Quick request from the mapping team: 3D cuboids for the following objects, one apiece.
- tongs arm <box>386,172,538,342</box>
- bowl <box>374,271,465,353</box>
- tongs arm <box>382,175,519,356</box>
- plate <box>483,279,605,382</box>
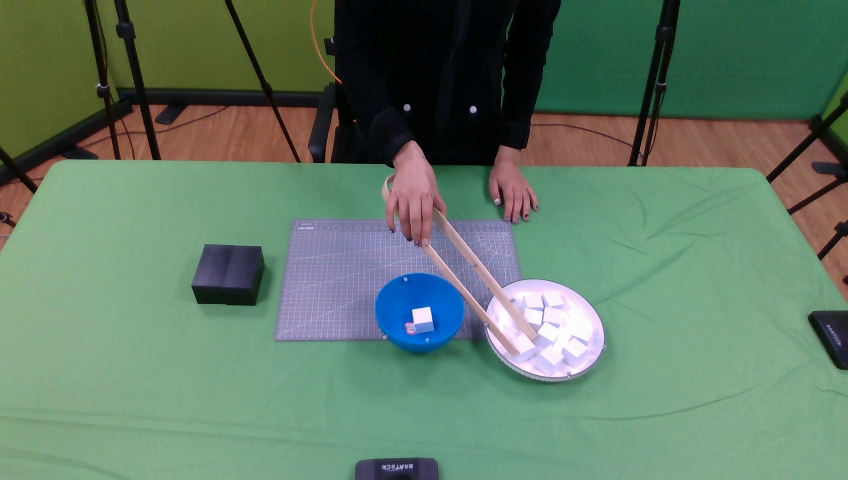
[{"bbox_3d":[0.060,0.027,1.061,0.051,0.026,0.383,-27,72,-31],"label":"tongs arm"},{"bbox_3d":[-0.009,0.136,1.024,0.151,0.077,0.150,2,47,-2],"label":"bowl"},{"bbox_3d":[0.037,0.040,1.044,0.028,0.028,0.386,-30,73,-28],"label":"tongs arm"},{"bbox_3d":[0.204,0.158,1.046,0.208,0.039,0.206,3,47,-3],"label":"plate"}]
